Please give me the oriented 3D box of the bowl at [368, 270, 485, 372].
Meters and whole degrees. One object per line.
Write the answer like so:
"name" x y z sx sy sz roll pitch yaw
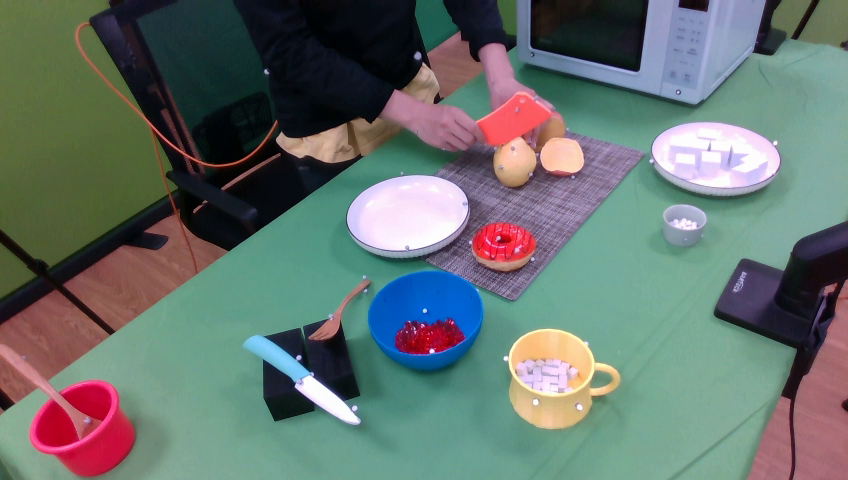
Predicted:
"bowl" 0.007 0.118 0.791 0.151 0.077 0.150 -5 40 4

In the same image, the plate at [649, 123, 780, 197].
"plate" 0.497 -0.135 1.046 0.207 0.039 0.206 -4 40 4

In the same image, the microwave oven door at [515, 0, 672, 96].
"microwave oven door" 0.343 -0.455 1.259 0.353 0.245 0.039 26 51 33

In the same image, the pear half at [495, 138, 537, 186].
"pear half" 0.162 -0.154 1.060 0.076 0.110 0.056 12 47 17

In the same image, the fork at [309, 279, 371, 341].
"fork" -0.109 0.092 0.832 0.028 0.018 0.207 -6 19 15

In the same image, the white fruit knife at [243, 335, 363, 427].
"white fruit knife" -0.148 0.167 0.729 0.206 0.016 0.027 27 80 31

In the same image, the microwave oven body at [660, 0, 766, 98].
"microwave oven body" 0.472 -0.513 1.317 0.438 0.261 0.327 26 51 34

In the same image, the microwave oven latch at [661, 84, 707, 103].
"microwave oven latch" 0.517 -0.296 1.204 0.078 0.029 0.030 27 52 35

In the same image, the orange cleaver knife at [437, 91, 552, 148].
"orange cleaver knife" 0.113 -0.186 1.014 0.210 0.078 0.012 -20 40 41

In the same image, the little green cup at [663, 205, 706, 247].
"little green cup" 0.396 -0.021 0.927 0.061 0.039 0.061 -4 40 4

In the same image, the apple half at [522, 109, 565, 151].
"apple half" 0.224 -0.212 1.145 0.080 0.075 0.053 -6 36 9

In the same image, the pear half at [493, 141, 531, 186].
"pear half" 0.149 -0.126 1.043 0.070 0.088 0.031 14 45 16

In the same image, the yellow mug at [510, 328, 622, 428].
"yellow mug" 0.169 0.164 0.722 0.130 0.064 0.099 0 40 8

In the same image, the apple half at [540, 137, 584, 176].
"apple half" 0.247 -0.146 1.089 0.081 0.033 0.081 -1 65 3

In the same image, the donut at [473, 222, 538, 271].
"donut" 0.123 0.009 0.923 0.099 0.048 0.098 -3 38 3

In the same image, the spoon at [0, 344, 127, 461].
"spoon" -0.433 0.191 0.721 0.194 0.021 0.042 47 53 -6

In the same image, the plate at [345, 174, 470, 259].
"plate" -0.026 -0.037 1.004 0.209 0.038 0.208 -4 40 4
